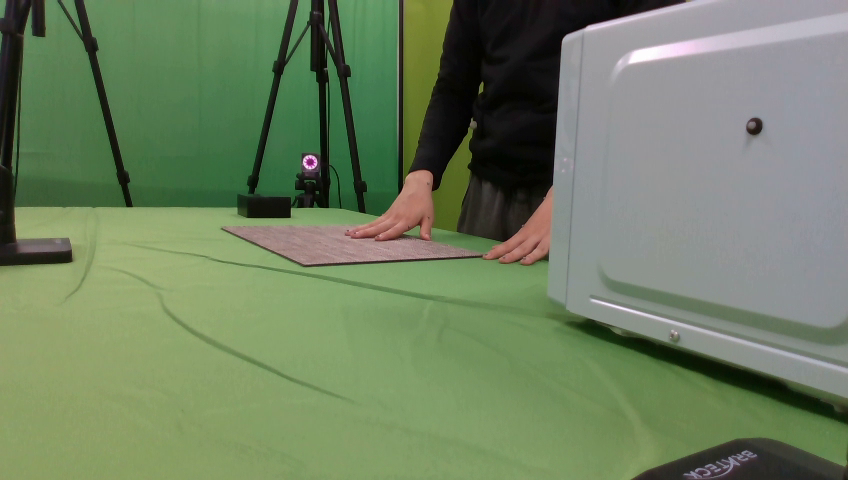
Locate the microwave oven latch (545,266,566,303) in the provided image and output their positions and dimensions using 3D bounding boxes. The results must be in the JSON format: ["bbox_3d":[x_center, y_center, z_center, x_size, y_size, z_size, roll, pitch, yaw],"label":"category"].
[{"bbox_3d":[0.147,0.038,0.555,0.079,0.029,0.030,-2,7,-29],"label":"microwave oven latch"}]

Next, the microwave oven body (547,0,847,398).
[{"bbox_3d":[0.378,-0.045,0.509,0.444,0.260,0.324,-2,8,-31],"label":"microwave oven body"}]

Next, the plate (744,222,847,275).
[{"bbox_3d":[0.407,0.008,0.553,0.209,0.038,0.209,2,5,0],"label":"plate"}]

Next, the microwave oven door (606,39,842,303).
[{"bbox_3d":[0.341,-0.070,0.654,0.358,0.243,0.039,-3,9,-31],"label":"microwave oven door"}]
